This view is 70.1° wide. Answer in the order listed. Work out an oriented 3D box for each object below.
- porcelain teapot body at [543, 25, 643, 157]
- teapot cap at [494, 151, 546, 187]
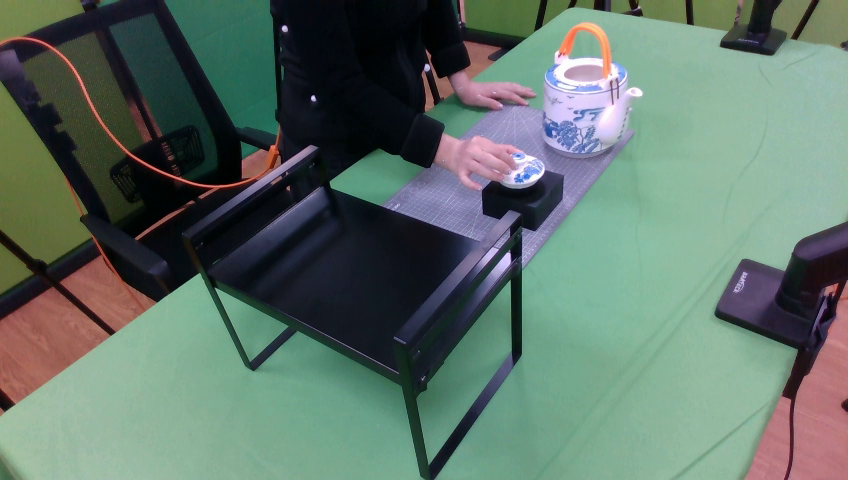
[{"bbox_3d":[0.306,-0.258,1.069,0.146,0.226,0.203,-26,45,-20],"label":"porcelain teapot body"},{"bbox_3d":[0.156,-0.121,0.983,0.085,0.044,0.085,-1,42,2],"label":"teapot cap"}]
